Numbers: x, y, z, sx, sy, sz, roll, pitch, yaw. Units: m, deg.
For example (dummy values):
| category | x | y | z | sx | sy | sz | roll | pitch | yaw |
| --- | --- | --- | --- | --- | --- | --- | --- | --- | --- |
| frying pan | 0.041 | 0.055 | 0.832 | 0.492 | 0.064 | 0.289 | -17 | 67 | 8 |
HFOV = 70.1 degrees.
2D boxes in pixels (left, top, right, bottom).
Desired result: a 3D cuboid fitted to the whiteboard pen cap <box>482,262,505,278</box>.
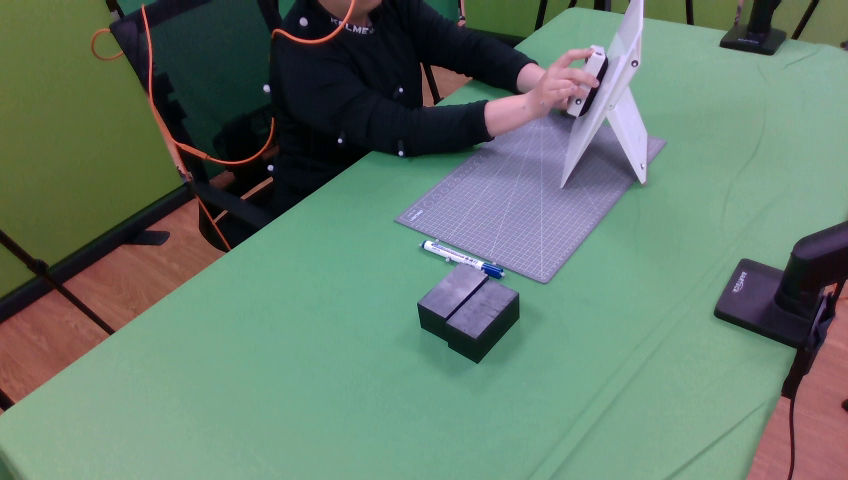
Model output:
| category | x | y | z | sx | sy | sz | roll | pitch | yaw |
| --- | --- | --- | --- | --- | --- | --- | --- | --- | --- |
| whiteboard pen cap | 0.104 | 0.045 | 0.912 | 0.033 | 0.018 | 0.018 | 21 | 48 | 29 |

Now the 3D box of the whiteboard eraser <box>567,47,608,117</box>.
| category | x | y | z | sx | sy | sz | roll | pitch | yaw |
| --- | --- | --- | --- | --- | --- | --- | --- | --- | --- |
| whiteboard eraser | 0.286 | -0.274 | 1.053 | 0.042 | 0.113 | 0.055 | 18 | 38 | 2 |

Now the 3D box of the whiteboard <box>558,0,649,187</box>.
| category | x | y | z | sx | sy | sz | roll | pitch | yaw |
| --- | --- | --- | --- | --- | --- | --- | --- | --- | --- |
| whiteboard | 0.361 | -0.238 | 1.026 | 0.144 | 0.306 | 0.217 | 21 | 44 | 3 |

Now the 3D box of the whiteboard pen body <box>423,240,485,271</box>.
| category | x | y | z | sx | sy | sz | roll | pitch | yaw |
| --- | --- | --- | --- | --- | --- | --- | --- | --- | --- |
| whiteboard pen body | 0.057 | 0.027 | 0.942 | 0.139 | 0.017 | 0.017 | 21 | 48 | 30 |
